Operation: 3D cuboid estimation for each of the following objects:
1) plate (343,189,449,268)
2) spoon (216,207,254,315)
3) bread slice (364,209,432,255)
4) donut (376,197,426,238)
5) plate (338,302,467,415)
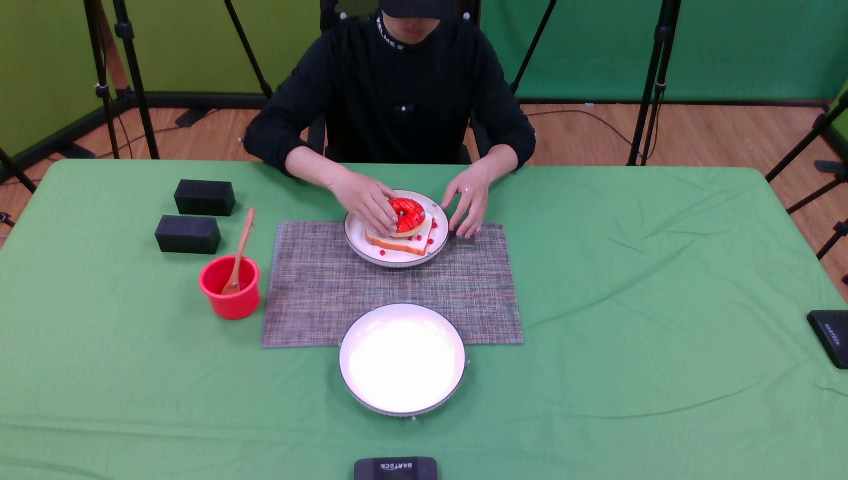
[{"bbox_3d":[-0.055,-0.019,1.195,0.209,0.038,0.208,3,46,-2],"label":"plate"},{"bbox_3d":[-0.322,0.036,1.053,0.041,0.021,0.193,14,90,11],"label":"spoon"},{"bbox_3d":[-0.054,-0.019,1.201,0.131,0.019,0.104,12,47,1],"label":"bread slice"},{"bbox_3d":[-0.044,-0.046,1.174,0.099,0.048,0.098,2,45,-2],"label":"donut"},{"bbox_3d":[-0.035,0.194,0.992,0.208,0.039,0.206,2,48,-2],"label":"plate"}]
